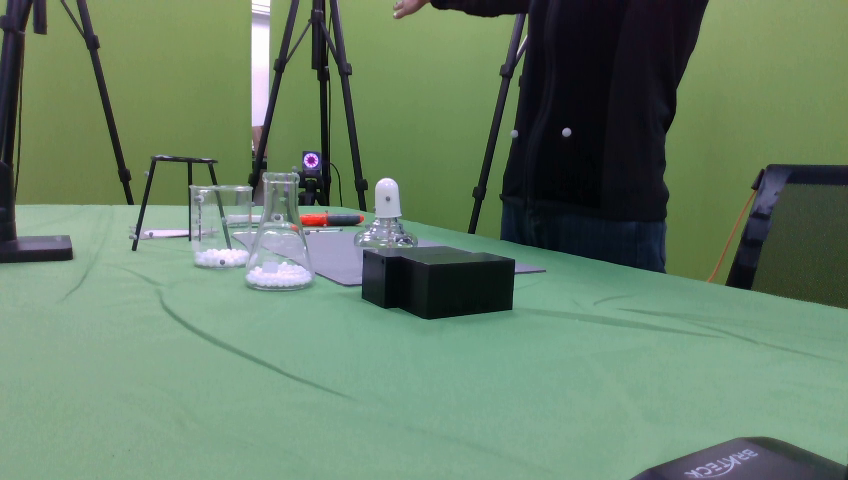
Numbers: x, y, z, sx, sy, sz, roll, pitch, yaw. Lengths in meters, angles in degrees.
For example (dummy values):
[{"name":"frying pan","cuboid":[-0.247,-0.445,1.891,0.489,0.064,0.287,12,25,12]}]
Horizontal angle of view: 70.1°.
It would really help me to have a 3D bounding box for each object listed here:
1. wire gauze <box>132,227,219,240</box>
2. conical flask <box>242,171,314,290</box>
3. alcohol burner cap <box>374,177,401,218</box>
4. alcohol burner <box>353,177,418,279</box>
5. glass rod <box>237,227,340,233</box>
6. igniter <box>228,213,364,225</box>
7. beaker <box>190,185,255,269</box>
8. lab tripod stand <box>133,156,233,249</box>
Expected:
[{"name":"wire gauze","cuboid":[-0.421,-0.014,1.024,0.122,0.011,0.124,-2,7,-34]},{"name":"conical flask","cuboid":[-0.154,-0.011,0.643,0.075,0.122,0.075,2,7,0]},{"name":"alcohol burner cap","cuboid":[-0.044,-0.049,0.704,0.034,0.048,0.034,-4,10,1]},{"name":"alcohol burner","cuboid":[-0.044,-0.014,0.710,0.078,0.119,0.078,4,9,0]},{"name":"glass rod","cuboid":[-0.247,-0.020,1.124,0.201,0.008,0.008,-2,8,-34]},{"name":"igniter","cuboid":[-0.252,-0.043,1.227,0.278,0.025,0.057,-2,-2,-32]},{"name":"beaker","cuboid":[-0.253,-0.018,0.754,0.083,0.100,0.074,6,8,32]},{"name":"lab tripod stand","cuboid":[-0.342,-0.054,0.878,0.148,0.131,0.148,4,6,0]}]
